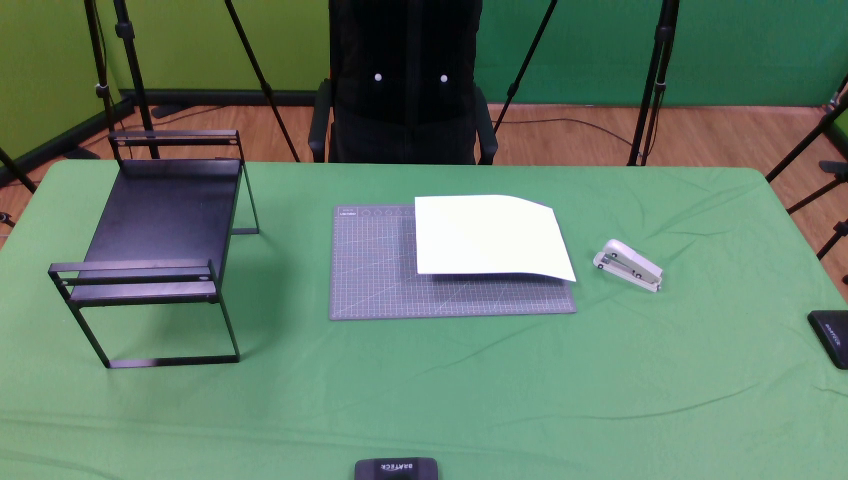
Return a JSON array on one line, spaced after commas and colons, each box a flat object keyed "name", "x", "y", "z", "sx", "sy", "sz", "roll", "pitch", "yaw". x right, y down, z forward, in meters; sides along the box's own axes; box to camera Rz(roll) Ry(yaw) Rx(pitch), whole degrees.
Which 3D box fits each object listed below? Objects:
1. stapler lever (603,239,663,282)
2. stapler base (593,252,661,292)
[{"name": "stapler lever", "x": 0.398, "y": 0.037, "z": 1.155, "sx": 0.117, "sy": 0.040, "sz": 0.027, "roll": 26, "pitch": 52, "yaw": 18}, {"name": "stapler base", "x": 0.395, "y": 0.054, "z": 1.174, "sx": 0.130, "sy": 0.024, "sz": 0.041, "roll": 26, "pitch": 52, "yaw": 18}]
